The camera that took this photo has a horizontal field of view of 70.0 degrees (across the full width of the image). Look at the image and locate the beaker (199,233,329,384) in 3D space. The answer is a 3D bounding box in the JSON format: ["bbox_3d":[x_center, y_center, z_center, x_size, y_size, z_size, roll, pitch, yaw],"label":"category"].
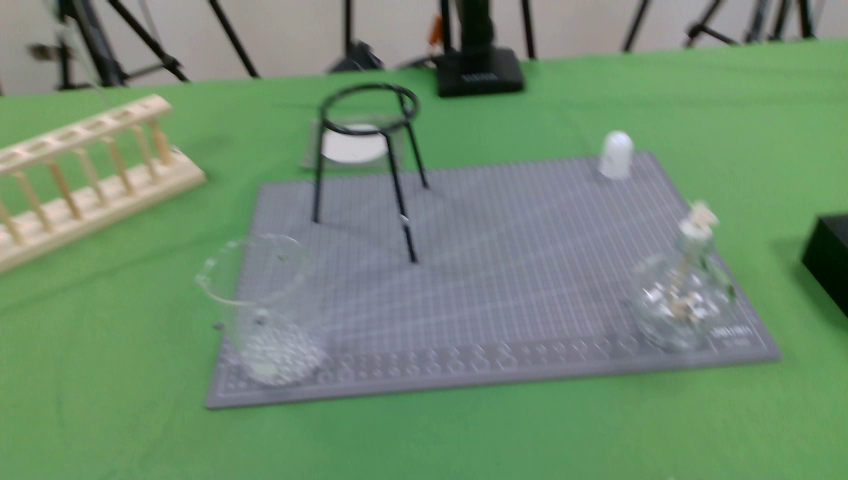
[{"bbox_3d":[-0.118,0.056,0.467,0.084,0.101,0.073,-7,40,-1],"label":"beaker"}]

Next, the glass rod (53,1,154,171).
[{"bbox_3d":[-0.331,-0.153,0.641,0.008,0.202,0.008,-9,41,8],"label":"glass rod"}]

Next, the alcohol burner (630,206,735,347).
[{"bbox_3d":[0.201,0.025,0.465,0.078,0.120,0.077,-2,38,2],"label":"alcohol burner"}]

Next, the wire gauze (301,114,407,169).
[{"bbox_3d":[-0.083,-0.121,0.747,0.125,0.011,0.120,-3,39,3],"label":"wire gauze"}]

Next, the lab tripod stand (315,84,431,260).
[{"bbox_3d":[-0.044,-0.069,0.580,0.148,0.133,0.147,-3,42,3],"label":"lab tripod stand"}]

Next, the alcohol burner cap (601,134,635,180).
[{"bbox_3d":[0.212,-0.093,0.657,0.034,0.048,0.033,-2,40,2],"label":"alcohol burner cap"}]

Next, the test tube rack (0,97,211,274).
[{"bbox_3d":[-0.362,-0.061,0.638,0.242,0.086,0.066,-31,47,-28],"label":"test tube rack"}]
